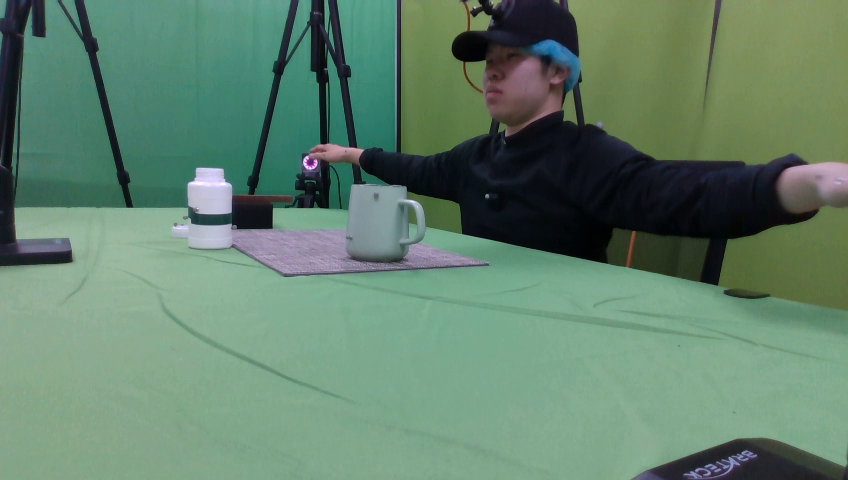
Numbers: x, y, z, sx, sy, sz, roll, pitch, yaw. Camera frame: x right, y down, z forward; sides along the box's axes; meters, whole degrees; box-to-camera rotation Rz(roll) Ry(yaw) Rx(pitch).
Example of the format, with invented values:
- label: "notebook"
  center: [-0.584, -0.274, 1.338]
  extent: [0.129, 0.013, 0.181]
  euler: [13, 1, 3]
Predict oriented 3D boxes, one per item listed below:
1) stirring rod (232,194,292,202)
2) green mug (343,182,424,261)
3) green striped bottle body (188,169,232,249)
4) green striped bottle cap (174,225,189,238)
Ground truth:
- label: "stirring rod"
  center: [-0.353, -0.085, 1.216]
  extent: [0.177, 0.014, 0.006]
  euler: [-1, 13, -27]
- label: "green mug"
  center: [-0.053, -0.026, 0.849]
  extent: [0.125, 0.105, 0.093]
  euler: [7, 8, 33]
- label: "green striped bottle body"
  center: [-0.324, -0.049, 0.919]
  extent: [0.063, 0.119, 0.063]
  euler: [2, 8, 0]
- label: "green striped bottle cap"
  center: [-0.404, -0.015, 1.036]
  extent: [0.044, 0.020, 0.044]
  euler: [-2, 8, 1]
